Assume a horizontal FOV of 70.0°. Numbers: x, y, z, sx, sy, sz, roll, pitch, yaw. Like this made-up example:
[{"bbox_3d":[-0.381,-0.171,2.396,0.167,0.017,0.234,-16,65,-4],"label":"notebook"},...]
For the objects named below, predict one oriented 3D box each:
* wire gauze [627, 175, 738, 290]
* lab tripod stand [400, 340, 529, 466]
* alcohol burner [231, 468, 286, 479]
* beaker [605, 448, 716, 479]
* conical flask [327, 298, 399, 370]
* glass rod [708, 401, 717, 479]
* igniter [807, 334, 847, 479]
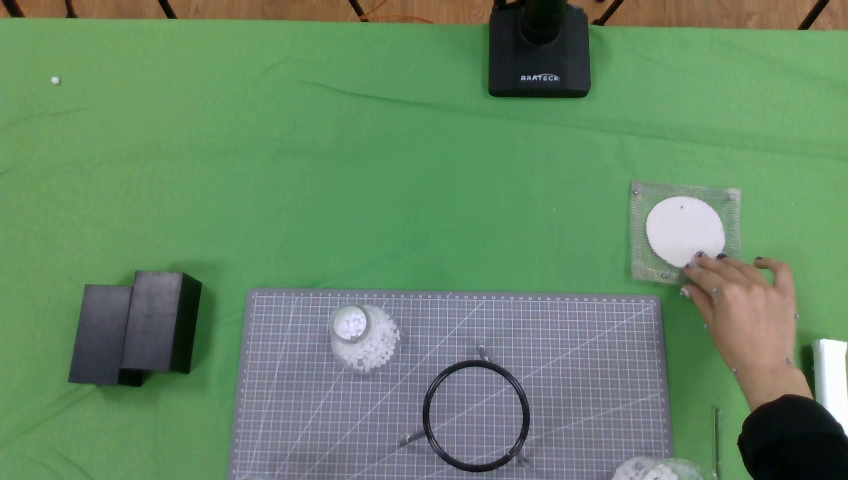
[{"bbox_3d":[0.289,-0.012,0.675,0.125,0.011,0.121,7,75,1],"label":"wire gauze"},{"bbox_3d":[0.041,0.161,0.565,0.148,0.132,0.147,0,76,2],"label":"lab tripod stand"},{"bbox_3d":[-0.158,0.251,0.554,0.078,0.120,0.077,-1,73,3],"label":"alcohol burner"},{"bbox_3d":[0.216,0.230,0.560,0.084,0.101,0.073,-35,76,-9],"label":"beaker"},{"bbox_3d":[-0.066,0.086,0.593,0.075,0.122,0.075,0,74,2],"label":"conical flask"},{"bbox_3d":[0.288,0.262,0.600,0.008,0.008,0.198,5,75,2],"label":"glass rod"},{"bbox_3d":[0.401,0.231,0.596,0.057,0.025,0.275,9,75,-7],"label":"igniter"}]
